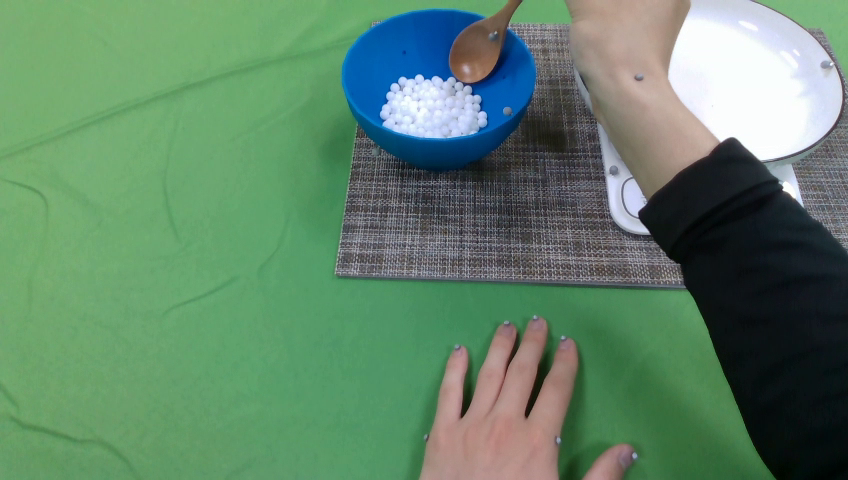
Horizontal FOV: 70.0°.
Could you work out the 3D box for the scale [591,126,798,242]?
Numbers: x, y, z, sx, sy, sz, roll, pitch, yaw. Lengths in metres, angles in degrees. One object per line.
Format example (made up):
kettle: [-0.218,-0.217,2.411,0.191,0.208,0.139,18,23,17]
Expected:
scale: [0.218,-0.087,0.510,0.148,0.032,0.199,1,56,2]

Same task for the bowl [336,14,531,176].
bowl: [0.008,-0.105,0.496,0.151,0.077,0.150,0,56,1]

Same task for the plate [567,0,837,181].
plate: [0.219,-0.125,0.495,0.209,0.038,0.207,0,56,0]

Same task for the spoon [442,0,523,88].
spoon: [0.066,-0.173,0.443,0.021,0.194,0.041,-38,91,-31]
